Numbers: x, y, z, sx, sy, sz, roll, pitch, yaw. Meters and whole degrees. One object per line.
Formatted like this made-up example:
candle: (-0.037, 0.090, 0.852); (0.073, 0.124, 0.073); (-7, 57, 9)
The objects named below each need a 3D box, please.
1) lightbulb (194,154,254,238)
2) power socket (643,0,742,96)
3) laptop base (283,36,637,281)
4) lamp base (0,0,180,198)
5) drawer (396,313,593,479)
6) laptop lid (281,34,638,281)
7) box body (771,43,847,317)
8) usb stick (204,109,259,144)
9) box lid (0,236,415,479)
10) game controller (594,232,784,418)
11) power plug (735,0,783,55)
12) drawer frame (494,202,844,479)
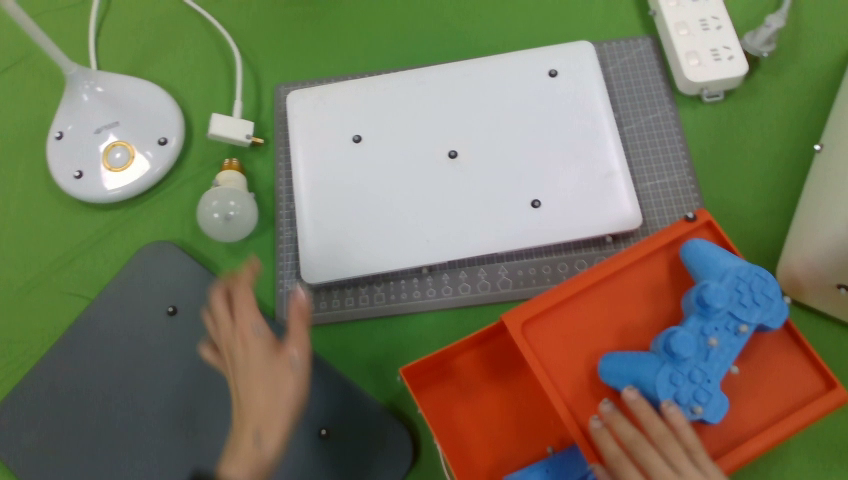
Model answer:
lightbulb: (-0.212, -0.051, 0.648); (0.059, 0.060, 0.106); (-10, 54, 1)
power socket: (0.297, -0.269, 0.696); (0.072, 0.033, 0.225); (-8, 69, 0)
laptop base: (0.028, -0.093, 0.660); (0.354, 0.023, 0.234); (-10, 73, 1)
lamp base: (-0.374, -0.158, 0.629); (0.160, 0.181, 0.177); (-34, 68, -8)
drawer: (0.111, 0.152, 0.531); (0.212, 0.074, 0.193); (-27, 69, -5)
laptop lid: (0.027, -0.095, 0.648); (0.357, 0.013, 0.240); (-9, 72, 1)
box body: (0.505, -0.081, 0.541); (0.253, 0.161, 0.363); (24, 73, 13)
usb stick: (-0.214, -0.125, 0.679); (0.059, 0.021, 0.027); (13, 72, -26)
box lid: (-0.222, 0.182, 0.582); (0.369, 0.015, 0.263); (34, 76, 14)
game controller: (0.220, 0.070, 0.494); (0.096, 0.052, 0.155); (37, 78, 12)
power plug: (0.376, -0.232, 0.673); (0.072, 0.053, 0.035); (-27, 65, -25)
drawer frame: (0.201, 0.104, 0.538); (0.213, 0.083, 0.200); (-28, 70, -5)
